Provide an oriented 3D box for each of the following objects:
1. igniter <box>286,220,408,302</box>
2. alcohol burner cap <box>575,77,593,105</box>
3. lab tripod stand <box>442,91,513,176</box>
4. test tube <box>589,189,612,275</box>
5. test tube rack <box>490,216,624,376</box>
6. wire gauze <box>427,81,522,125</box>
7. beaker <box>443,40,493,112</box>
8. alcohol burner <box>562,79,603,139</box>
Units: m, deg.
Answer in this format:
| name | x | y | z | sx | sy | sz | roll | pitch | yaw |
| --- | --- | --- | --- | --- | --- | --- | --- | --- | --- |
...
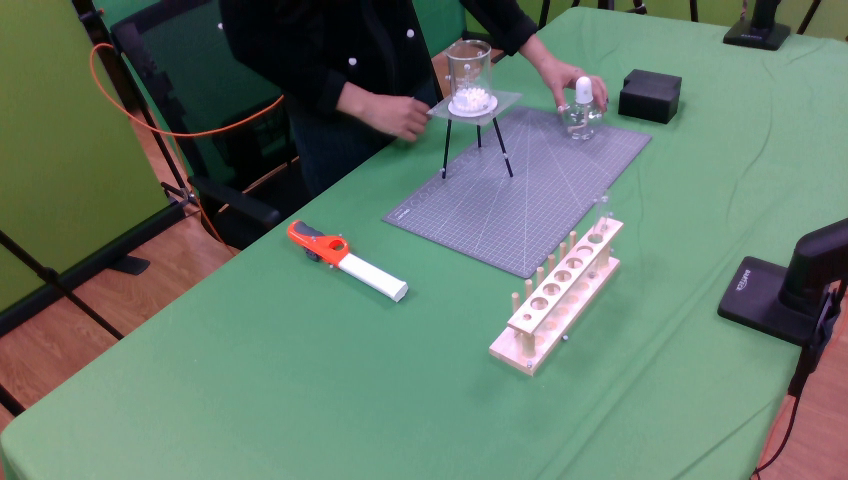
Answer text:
| name | x | y | z | sx | sy | sz | roll | pitch | yaw |
| --- | --- | --- | --- | --- | --- | --- | --- | --- | --- |
| igniter | -0.134 | 0.028 | 0.968 | 0.274 | 0.025 | 0.057 | 27 | 61 | 35 |
| alcohol burner cap | 0.296 | -0.280 | 1.124 | 0.034 | 0.048 | 0.033 | -9 | 41 | 9 |
| lab tripod stand | 0.096 | -0.190 | 1.096 | 0.148 | 0.132 | 0.147 | -4 | 40 | 4 |
| test tube | 0.238 | -0.007 | 0.818 | 0.017 | 0.151 | 0.017 | -3 | 43 | 4 |
| test tube rack | 0.184 | 0.064 | 0.822 | 0.066 | 0.085 | 0.243 | 24 | 50 | 33 |
| wire gauze | 0.088 | -0.237 | 1.051 | 0.120 | 0.011 | 0.125 | 23 | 47 | 29 |
| beaker | 0.076 | -0.276 | 1.023 | 0.083 | 0.101 | 0.074 | 5 | 42 | 15 |
| alcohol burner | 0.302 | -0.253 | 1.147 | 0.078 | 0.119 | 0.077 | -4 | 41 | 4 |
